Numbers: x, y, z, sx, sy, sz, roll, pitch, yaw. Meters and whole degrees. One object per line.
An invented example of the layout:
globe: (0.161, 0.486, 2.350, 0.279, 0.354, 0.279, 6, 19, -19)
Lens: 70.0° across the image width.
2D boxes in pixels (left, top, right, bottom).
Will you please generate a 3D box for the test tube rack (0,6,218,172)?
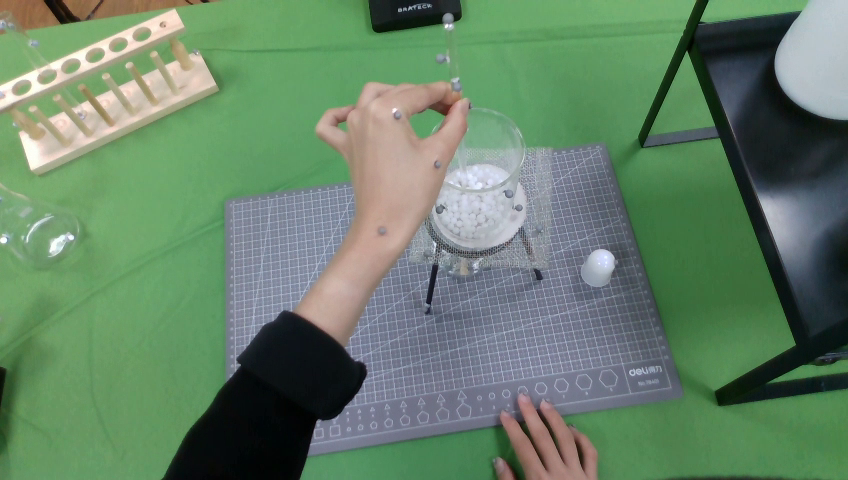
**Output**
test tube rack: (-0.387, -0.182, 0.732, 0.242, 0.086, 0.066, -28, 67, -9)

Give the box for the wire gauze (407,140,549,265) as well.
wire gauze: (0.051, -0.035, 0.541, 0.121, 0.011, 0.124, 5, 65, 3)

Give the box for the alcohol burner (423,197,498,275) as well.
alcohol burner: (0.037, -0.010, 0.614, 0.078, 0.120, 0.077, -1, 65, 2)

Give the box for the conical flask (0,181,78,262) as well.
conical flask: (-0.440, -0.031, 0.649, 0.075, 0.123, 0.075, -1, 66, 3)

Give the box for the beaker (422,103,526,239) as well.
beaker: (0.038, -0.049, 0.495, 0.084, 0.101, 0.073, -30, 68, -10)

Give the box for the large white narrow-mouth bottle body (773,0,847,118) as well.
large white narrow-mouth bottle body: (0.341, -0.180, 0.433, 0.102, 0.196, 0.101, -2, 66, 5)

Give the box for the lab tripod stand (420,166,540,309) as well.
lab tripod stand: (0.049, -0.003, 0.599, 0.148, 0.132, 0.147, -1, 65, 2)

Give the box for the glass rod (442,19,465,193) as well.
glass rod: (0.023, -0.087, 0.454, 0.008, 0.201, 0.008, -2, 64, 5)

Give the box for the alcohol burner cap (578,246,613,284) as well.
alcohol burner cap: (0.180, 0.023, 0.630, 0.034, 0.048, 0.033, -1, 66, 3)

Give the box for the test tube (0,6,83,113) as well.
test tube: (-0.433, -0.199, 0.688, 0.017, 0.151, 0.017, -1, 60, 3)
